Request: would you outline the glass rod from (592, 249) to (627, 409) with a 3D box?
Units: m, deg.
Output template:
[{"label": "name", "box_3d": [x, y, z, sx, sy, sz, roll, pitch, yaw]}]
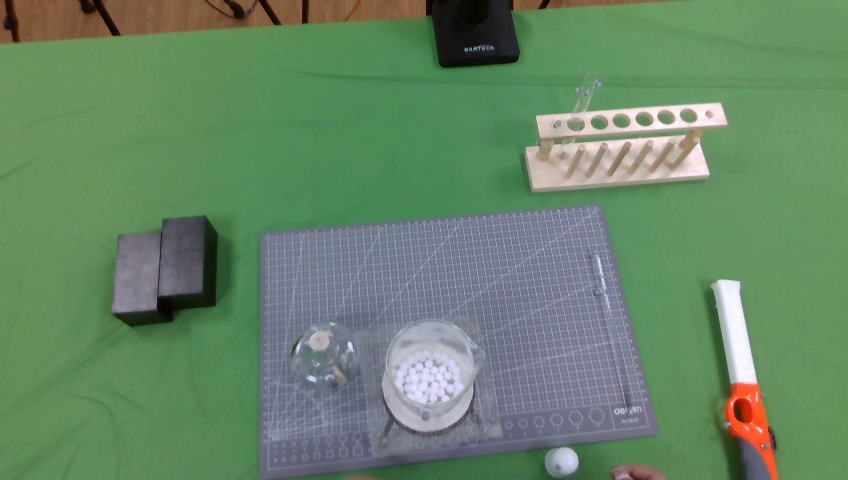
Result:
[{"label": "glass rod", "box_3d": [0.225, 0.105, 0.739, 0.008, 0.008, 0.198, -4, 70, -4]}]

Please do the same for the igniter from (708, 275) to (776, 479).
[{"label": "igniter", "box_3d": [0.371, 0.173, 0.708, 0.057, 0.025, 0.274, 6, 67, -11]}]

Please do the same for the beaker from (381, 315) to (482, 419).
[{"label": "beaker", "box_3d": [0.006, 0.116, 0.534, 0.084, 0.101, 0.073, -10, 66, -6]}]

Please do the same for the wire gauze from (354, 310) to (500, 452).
[{"label": "wire gauze", "box_3d": [0.001, 0.132, 0.579, 0.125, 0.011, 0.120, -9, 65, -3]}]

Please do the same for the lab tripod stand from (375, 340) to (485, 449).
[{"label": "lab tripod stand", "box_3d": [0.000, 0.161, 0.638, 0.148, 0.132, 0.147, 0, 66, 0]}]

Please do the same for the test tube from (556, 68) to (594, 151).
[{"label": "test tube", "box_3d": [0.187, -0.158, 0.757, 0.017, 0.151, 0.017, 0, 63, 0]}]

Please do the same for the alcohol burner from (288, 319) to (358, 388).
[{"label": "alcohol burner", "box_3d": [-0.112, 0.119, 0.663, 0.078, 0.120, 0.077, 1, 65, -1]}]

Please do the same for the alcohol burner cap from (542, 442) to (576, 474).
[{"label": "alcohol burner cap", "box_3d": [0.151, 0.238, 0.665, 0.034, 0.048, 0.033, 0, 66, -1]}]

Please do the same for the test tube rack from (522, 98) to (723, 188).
[{"label": "test tube rack", "box_3d": [0.260, -0.127, 0.800, 0.242, 0.086, 0.066, -5, 67, -4]}]
